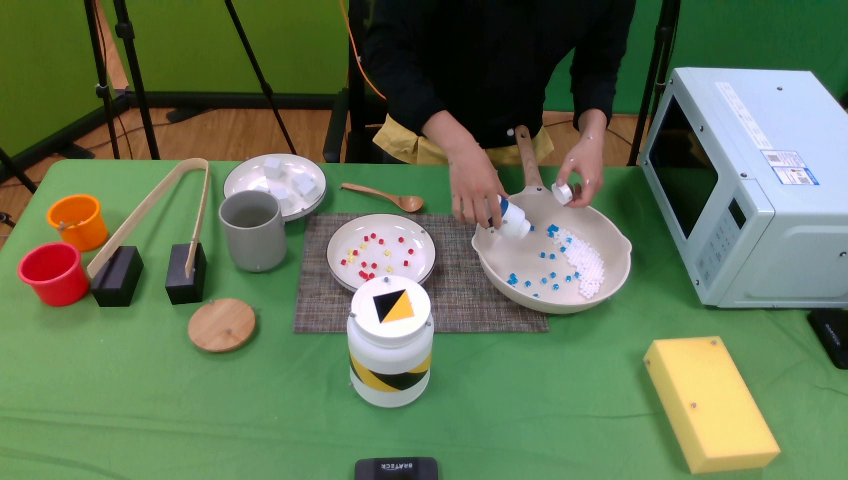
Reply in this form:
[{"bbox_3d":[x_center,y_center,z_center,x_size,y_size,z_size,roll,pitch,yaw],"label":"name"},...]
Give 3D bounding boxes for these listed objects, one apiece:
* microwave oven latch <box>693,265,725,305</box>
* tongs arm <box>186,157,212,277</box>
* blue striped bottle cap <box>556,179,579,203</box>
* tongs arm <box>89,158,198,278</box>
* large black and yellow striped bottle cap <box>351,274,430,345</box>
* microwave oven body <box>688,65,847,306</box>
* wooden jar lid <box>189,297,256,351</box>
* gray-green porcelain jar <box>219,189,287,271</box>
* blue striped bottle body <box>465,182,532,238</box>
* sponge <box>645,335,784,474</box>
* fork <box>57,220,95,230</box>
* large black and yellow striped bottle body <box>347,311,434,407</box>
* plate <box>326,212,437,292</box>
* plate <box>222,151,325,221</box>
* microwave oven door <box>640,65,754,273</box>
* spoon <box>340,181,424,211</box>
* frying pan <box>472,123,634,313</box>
[{"bbox_3d":[0.523,0.082,1.116,0.030,0.029,0.078,2,46,-1],"label":"microwave oven latch"},{"bbox_3d":[-0.445,-0.058,1.168,0.051,0.026,0.382,-5,37,-6],"label":"tongs arm"},{"bbox_3d":[0.267,-0.092,1.126,0.045,0.020,0.044,35,27,-20],"label":"blue striped bottle cap"},{"bbox_3d":[-0.529,-0.057,1.164,0.028,0.028,0.385,1,36,8],"label":"tongs arm"},{"bbox_3d":[-0.048,0.097,0.867,0.115,0.019,0.114,3,48,-3],"label":"large black and yellow striped bottle cap"},{"bbox_3d":[0.669,-0.111,1.176,0.326,0.261,0.439,0,46,-3],"label":"microwave oven body"},{"bbox_3d":[-0.342,0.145,1.033,0.108,0.021,0.107,2,45,-2],"label":"wooden jar lid"},{"bbox_3d":[-0.310,-0.014,1.113,0.106,0.127,0.105,2,46,-2],"label":"gray-green porcelain jar"},{"bbox_3d":[0.140,-0.049,1.106,0.121,0.063,0.063,31,45,-17],"label":"blue striped bottle body"},{"bbox_3d":[0.449,0.253,0.956,0.118,0.061,0.205,-4,46,-7],"label":"sponge"},{"bbox_3d":[-0.624,-0.027,1.087,0.028,0.207,0.018,-3,92,-17],"label":"fork"},{"bbox_3d":[-0.052,0.157,0.929,0.131,0.185,0.130,2,47,-2],"label":"large black and yellow striped bottle body"},{"bbox_3d":[-0.080,0.030,1.143,0.209,0.038,0.208,2,46,-2],"label":"plate"},{"bbox_3d":[-0.310,-0.106,1.263,0.208,0.039,0.206,2,47,-2],"label":"plate"},{"bbox_3d":[0.524,-0.148,1.193,0.039,0.245,0.353,0,47,-3],"label":"microwave oven door"},{"bbox_3d":[-0.090,-0.100,1.282,0.193,0.022,0.041,18,65,13],"label":"spoon"},{"bbox_3d":[0.235,-0.060,1.207,0.307,0.103,0.484,2,55,-6],"label":"frying pan"}]
